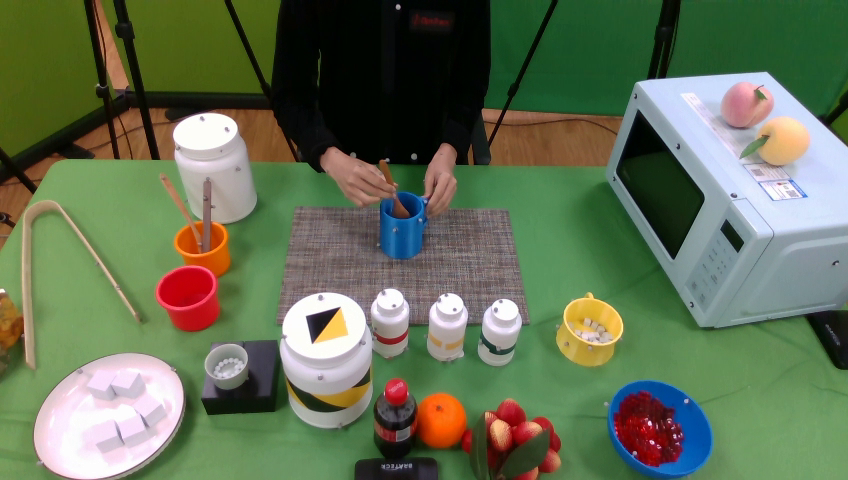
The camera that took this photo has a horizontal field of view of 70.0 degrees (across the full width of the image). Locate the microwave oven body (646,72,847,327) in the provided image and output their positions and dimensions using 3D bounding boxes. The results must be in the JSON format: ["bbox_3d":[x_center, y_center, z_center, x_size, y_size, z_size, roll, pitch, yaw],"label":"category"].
[{"bbox_3d":[0.607,-0.089,1.164,0.326,0.261,0.438,-7,46,-10],"label":"microwave oven body"}]

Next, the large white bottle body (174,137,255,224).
[{"bbox_3d":[-0.408,-0.137,1.183,0.131,0.185,0.130,2,46,-2],"label":"large white bottle body"}]

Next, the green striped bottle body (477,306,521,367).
[{"bbox_3d":[0.124,0.151,0.995,0.063,0.120,0.063,2,46,-2],"label":"green striped bottle body"}]

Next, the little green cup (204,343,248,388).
[{"bbox_3d":[-0.294,0.190,0.909,0.061,0.039,0.061,1,48,-1],"label":"little green cup"}]

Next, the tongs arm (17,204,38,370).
[{"bbox_3d":[-0.698,0.069,1.068,0.028,0.028,0.385,-20,50,-13],"label":"tongs arm"}]

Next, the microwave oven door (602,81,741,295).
[{"bbox_3d":[0.456,-0.107,1.162,0.039,0.245,0.353,-7,47,-11],"label":"microwave oven door"}]

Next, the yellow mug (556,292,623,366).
[{"bbox_3d":[0.285,0.145,1.051,0.100,0.064,0.130,7,45,3],"label":"yellow mug"}]

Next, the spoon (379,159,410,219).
[{"bbox_3d":[-0.059,-0.084,1.106,0.041,0.195,0.021,-3,53,9],"label":"spoon"}]

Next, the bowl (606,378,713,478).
[{"bbox_3d":[0.340,0.292,0.906,0.151,0.077,0.150,2,46,-2],"label":"bowl"}]

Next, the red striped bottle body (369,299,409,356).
[{"bbox_3d":[-0.058,0.134,0.997,0.063,0.120,0.062,4,47,-4],"label":"red striped bottle body"}]

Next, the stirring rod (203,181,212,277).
[{"bbox_3d":[-0.396,-0.021,1.108,0.014,0.006,0.176,-1,89,-1],"label":"stirring rod"}]

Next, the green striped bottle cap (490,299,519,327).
[{"bbox_3d":[0.128,0.115,0.958,0.044,0.020,0.044,2,47,-2],"label":"green striped bottle cap"}]

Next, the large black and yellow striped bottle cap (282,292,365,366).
[{"bbox_3d":[-0.139,0.121,0.841,0.115,0.019,0.114,3,47,-3],"label":"large black and yellow striped bottle cap"}]

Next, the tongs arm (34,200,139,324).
[{"bbox_3d":[-0.622,0.034,1.105,0.051,0.026,0.382,-32,56,-26],"label":"tongs arm"}]

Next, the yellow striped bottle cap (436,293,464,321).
[{"bbox_3d":[0.041,0.106,0.959,0.044,0.019,0.044,-1,50,1],"label":"yellow striped bottle cap"}]

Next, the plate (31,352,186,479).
[{"bbox_3d":[-0.459,0.262,0.898,0.209,0.038,0.208,2,46,-2],"label":"plate"}]

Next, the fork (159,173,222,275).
[{"bbox_3d":[-0.427,-0.029,1.103,0.028,0.018,0.207,-31,99,-30],"label":"fork"}]

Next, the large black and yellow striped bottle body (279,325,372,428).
[{"bbox_3d":[-0.143,0.181,0.900,0.131,0.185,0.130,2,46,-2],"label":"large black and yellow striped bottle body"}]

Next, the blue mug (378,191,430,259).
[{"bbox_3d":[-0.034,-0.035,1.167,0.116,0.106,0.082,-30,56,-29],"label":"blue mug"}]

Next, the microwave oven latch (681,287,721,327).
[{"bbox_3d":[0.494,0.119,1.087,0.030,0.029,0.078,-6,46,-9],"label":"microwave oven latch"}]

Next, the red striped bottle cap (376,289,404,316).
[{"bbox_3d":[-0.055,0.098,0.959,0.044,0.018,0.044,0,48,0],"label":"red striped bottle cap"}]

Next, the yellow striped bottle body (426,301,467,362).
[{"bbox_3d":[0.037,0.142,0.996,0.063,0.121,0.062,3,46,-2],"label":"yellow striped bottle body"}]

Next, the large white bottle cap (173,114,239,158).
[{"bbox_3d":[-0.403,-0.195,1.122,0.115,0.018,0.114,2,47,-2],"label":"large white bottle cap"}]
